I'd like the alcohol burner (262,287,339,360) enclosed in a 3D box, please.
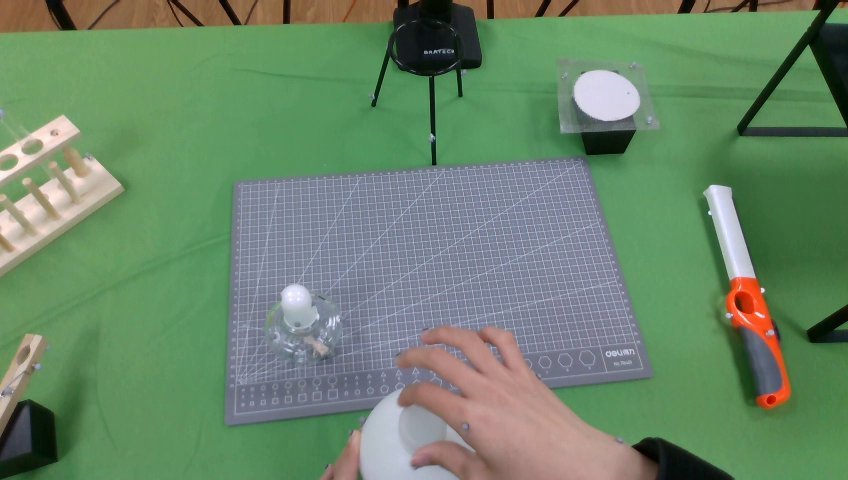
[{"bbox_3d":[-0.124,0.076,0.605,0.078,0.120,0.077,2,59,-4],"label":"alcohol burner"}]

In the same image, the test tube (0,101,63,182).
[{"bbox_3d":[-0.433,-0.110,0.651,0.017,0.151,0.017,0,59,1],"label":"test tube"}]

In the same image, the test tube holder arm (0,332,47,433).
[{"bbox_3d":[-0.387,0.168,0.544,0.013,0.015,0.177,6,61,7],"label":"test tube holder arm"}]

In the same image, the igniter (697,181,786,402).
[{"bbox_3d":[0.364,0.050,0.701,0.057,0.025,0.274,6,61,-12],"label":"igniter"}]

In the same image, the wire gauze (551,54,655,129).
[{"bbox_3d":[0.227,-0.192,0.781,0.121,0.011,0.124,2,61,-2],"label":"wire gauze"}]

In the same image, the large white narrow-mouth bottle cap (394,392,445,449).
[{"bbox_3d":[-0.003,0.129,0.435,0.038,0.024,0.037,1,61,-2],"label":"large white narrow-mouth bottle cap"}]

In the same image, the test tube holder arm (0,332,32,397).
[{"bbox_3d":[-0.386,0.128,0.565,0.010,0.015,0.087,5,61,6],"label":"test tube holder arm"}]

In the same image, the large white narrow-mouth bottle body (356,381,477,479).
[{"bbox_3d":[-0.007,0.176,0.515,0.102,0.196,0.101,1,60,-2],"label":"large white narrow-mouth bottle body"}]

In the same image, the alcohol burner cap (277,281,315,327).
[{"bbox_3d":[-0.123,0.059,0.574,0.034,0.048,0.033,0,56,0],"label":"alcohol burner cap"}]

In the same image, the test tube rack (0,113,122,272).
[{"bbox_3d":[-0.469,-0.028,0.661,0.066,0.086,0.242,40,66,17],"label":"test tube rack"}]

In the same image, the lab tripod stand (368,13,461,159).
[{"bbox_3d":[-0.002,-0.196,0.754,0.148,0.132,0.147,2,62,-4],"label":"lab tripod stand"}]
